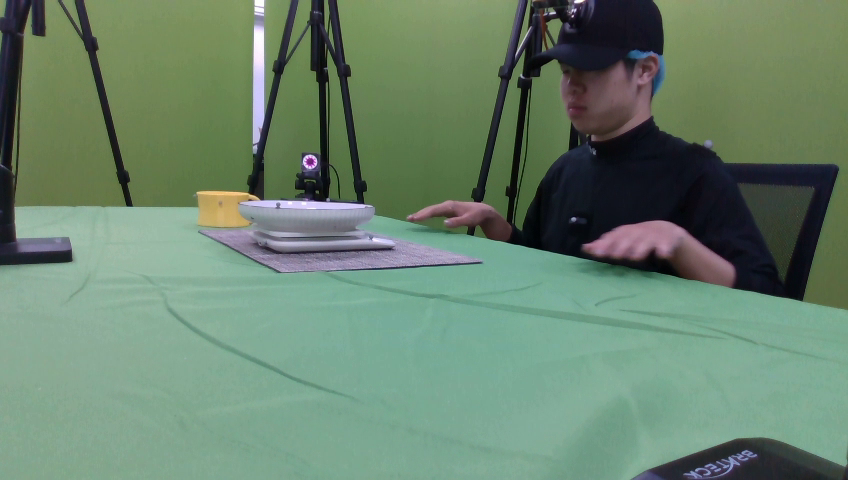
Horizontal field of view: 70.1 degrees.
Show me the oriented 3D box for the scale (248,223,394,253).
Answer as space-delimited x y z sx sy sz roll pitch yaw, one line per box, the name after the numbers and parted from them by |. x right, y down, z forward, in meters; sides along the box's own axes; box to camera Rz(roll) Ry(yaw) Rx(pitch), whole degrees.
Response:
-0.162 -0.006 0.954 0.202 0.031 0.148 -2 9 -32 | scale

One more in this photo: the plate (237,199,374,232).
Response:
-0.183 -0.039 0.941 0.209 0.038 0.209 3 7 0 | plate

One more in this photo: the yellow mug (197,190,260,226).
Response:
-0.389 -0.065 1.223 0.131 0.064 0.099 -1 8 -34 | yellow mug
